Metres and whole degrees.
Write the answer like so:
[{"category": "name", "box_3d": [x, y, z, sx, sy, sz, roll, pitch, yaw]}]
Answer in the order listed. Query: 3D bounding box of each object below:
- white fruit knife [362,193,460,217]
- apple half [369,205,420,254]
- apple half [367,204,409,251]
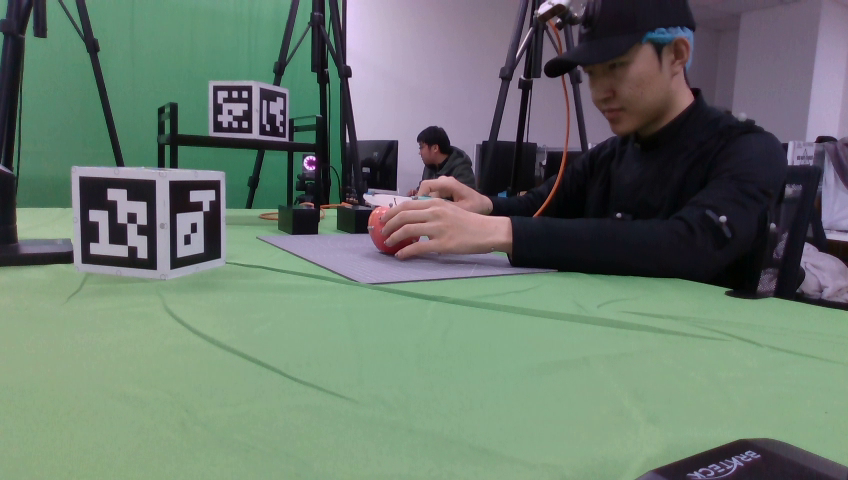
[{"category": "white fruit knife", "box_3d": [-0.015, -0.059, 0.964, 0.208, 0.027, 0.016, 4, -3, -44]}, {"category": "apple half", "box_3d": [-0.038, -0.014, 0.921, 0.081, 0.074, 0.053, 2, 11, -43]}, {"category": "apple half", "box_3d": [-0.063, -0.020, 0.949, 0.082, 0.081, 0.032, -4, 12, -41]}]
